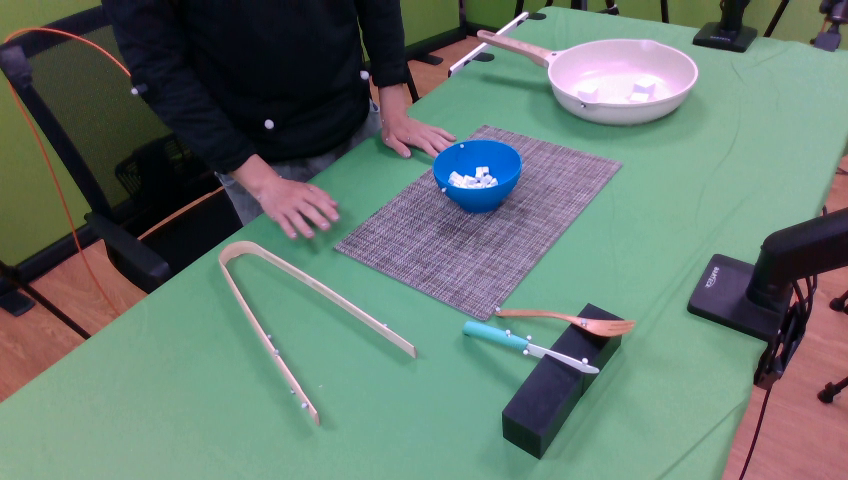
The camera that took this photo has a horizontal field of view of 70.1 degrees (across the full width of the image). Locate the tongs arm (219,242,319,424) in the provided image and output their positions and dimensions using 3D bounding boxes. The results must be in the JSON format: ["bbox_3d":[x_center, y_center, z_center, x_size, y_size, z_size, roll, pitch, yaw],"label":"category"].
[{"bbox_3d":[-0.220,0.114,0.856,0.051,0.026,0.381,-28,44,-24],"label":"tongs arm"}]

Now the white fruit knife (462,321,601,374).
[{"bbox_3d":[0.126,0.132,0.752,0.205,0.027,0.016,12,48,42],"label":"white fruit knife"}]

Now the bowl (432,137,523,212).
[{"bbox_3d":[0.091,-0.100,1.022,0.151,0.077,0.150,-4,41,4],"label":"bowl"}]

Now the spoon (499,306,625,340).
[{"bbox_3d":[0.169,0.102,0.773,0.042,0.021,0.192,-10,14,-38],"label":"spoon"}]

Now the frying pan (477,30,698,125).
[{"bbox_3d":[0.321,-0.371,1.290,0.484,0.103,0.308,29,51,24],"label":"frying pan"}]

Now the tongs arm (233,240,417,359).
[{"bbox_3d":[-0.157,0.078,0.896,0.384,0.028,0.028,26,53,33],"label":"tongs arm"}]
